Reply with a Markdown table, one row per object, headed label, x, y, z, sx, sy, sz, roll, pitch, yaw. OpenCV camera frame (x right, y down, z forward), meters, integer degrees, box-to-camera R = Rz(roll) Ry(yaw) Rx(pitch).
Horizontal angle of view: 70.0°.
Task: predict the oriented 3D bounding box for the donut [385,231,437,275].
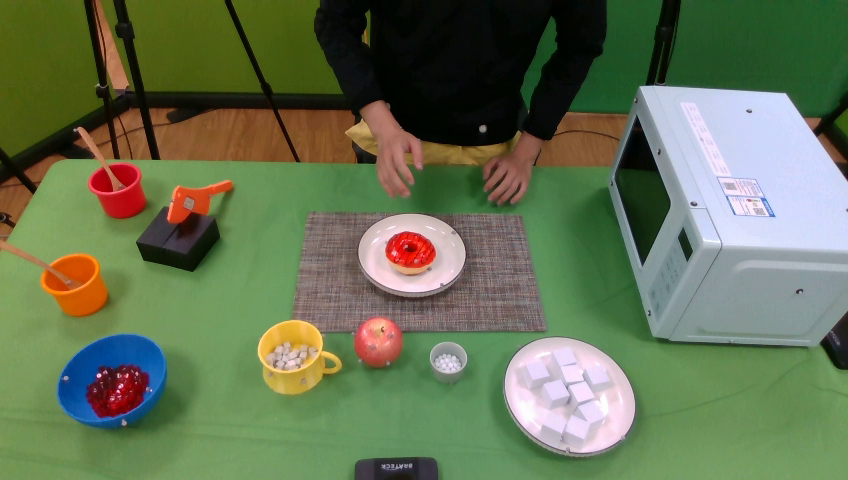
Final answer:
| label | x | y | z | sx | sy | sz | roll | pitch | yaw |
| --- | --- | --- | --- | --- | --- | --- | --- | --- | --- |
| donut | -0.025 | 0.024 | 1.141 | 0.099 | 0.048 | 0.098 | 3 | 44 | -3 |

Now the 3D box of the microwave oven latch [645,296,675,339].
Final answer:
| label | x | y | z | sx | sy | sz | roll | pitch | yaw |
| --- | --- | --- | --- | --- | --- | --- | --- | --- | --- |
| microwave oven latch | 0.412 | 0.134 | 1.061 | 0.030 | 0.029 | 0.078 | 3 | 45 | 0 |

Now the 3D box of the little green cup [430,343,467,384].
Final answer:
| label | x | y | z | sx | sy | sz | roll | pitch | yaw |
| --- | --- | --- | --- | --- | --- | --- | --- | --- | --- |
| little green cup | 0.039 | 0.203 | 0.994 | 0.061 | 0.039 | 0.061 | 2 | 46 | -2 |

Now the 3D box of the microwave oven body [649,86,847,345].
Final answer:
| label | x | y | z | sx | sy | sz | roll | pitch | yaw |
| --- | --- | --- | --- | --- | --- | --- | --- | --- | --- |
| microwave oven body | 0.567 | -0.053 | 1.118 | 0.326 | 0.261 | 0.439 | 2 | 45 | -1 |

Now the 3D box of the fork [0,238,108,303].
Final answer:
| label | x | y | z | sx | sy | sz | roll | pitch | yaw |
| --- | --- | --- | --- | --- | --- | --- | --- | --- | --- |
| fork | -0.633 | 0.048 | 1.017 | 0.208 | 0.018 | 0.028 | 40 | 41 | -27 |

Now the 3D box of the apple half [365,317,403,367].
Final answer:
| label | x | y | z | sx | sy | sz | roll | pitch | yaw |
| --- | --- | --- | --- | --- | --- | --- | --- | --- | --- |
| apple half | -0.063 | 0.165 | 1.000 | 0.053 | 0.075 | 0.080 | -16 | 45 | -24 |

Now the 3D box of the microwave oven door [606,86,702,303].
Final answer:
| label | x | y | z | sx | sy | sz | roll | pitch | yaw |
| --- | --- | --- | --- | --- | --- | --- | --- | --- | --- |
| microwave oven door | 0.423 | -0.094 | 1.140 | 0.039 | 0.245 | 0.353 | 2 | 46 | -1 |

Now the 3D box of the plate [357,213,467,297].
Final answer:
| label | x | y | z | sx | sy | sz | roll | pitch | yaw |
| --- | --- | --- | --- | --- | --- | --- | --- | --- | --- |
| plate | -0.023 | 0.032 | 1.150 | 0.209 | 0.038 | 0.208 | 2 | 46 | -2 |

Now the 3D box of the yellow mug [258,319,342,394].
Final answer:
| label | x | y | z | sx | sy | sz | roll | pitch | yaw |
| --- | --- | --- | --- | --- | --- | --- | --- | --- | --- |
| yellow mug | -0.195 | 0.188 | 0.972 | 0.131 | 0.064 | 0.099 | 9 | 47 | 4 |

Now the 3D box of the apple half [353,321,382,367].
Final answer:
| label | x | y | z | sx | sy | sz | roll | pitch | yaw |
| --- | --- | --- | --- | --- | --- | --- | --- | --- | --- |
| apple half | -0.098 | 0.177 | 0.984 | 0.033 | 0.081 | 0.081 | -17 | 49 | -25 |

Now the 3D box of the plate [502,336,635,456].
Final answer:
| label | x | y | z | sx | sy | sz | roll | pitch | yaw |
| --- | --- | --- | --- | --- | --- | --- | --- | --- | --- |
| plate | 0.225 | 0.248 | 0.963 | 0.208 | 0.039 | 0.206 | 2 | 46 | -2 |

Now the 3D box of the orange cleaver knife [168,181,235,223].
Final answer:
| label | x | y | z | sx | sy | sz | roll | pitch | yaw |
| --- | --- | --- | --- | --- | --- | --- | --- | --- | --- |
| orange cleaver knife | -0.436 | -0.078 | 1.196 | 0.012 | 0.077 | 0.211 | 16 | 15 | 10 |

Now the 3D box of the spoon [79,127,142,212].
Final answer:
| label | x | y | z | sx | sy | sz | roll | pitch | yaw |
| --- | --- | --- | --- | --- | --- | --- | --- | --- | --- |
| spoon | -0.624 | -0.140 | 1.203 | 0.041 | 0.021 | 0.194 | -33 | 100 | -26 |

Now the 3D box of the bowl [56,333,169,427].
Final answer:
| label | x | y | z | sx | sy | sz | roll | pitch | yaw |
| --- | --- | --- | --- | --- | --- | --- | --- | --- | --- |
| bowl | -0.456 | 0.223 | 0.911 | 0.151 | 0.077 | 0.150 | 3 | 46 | -2 |
